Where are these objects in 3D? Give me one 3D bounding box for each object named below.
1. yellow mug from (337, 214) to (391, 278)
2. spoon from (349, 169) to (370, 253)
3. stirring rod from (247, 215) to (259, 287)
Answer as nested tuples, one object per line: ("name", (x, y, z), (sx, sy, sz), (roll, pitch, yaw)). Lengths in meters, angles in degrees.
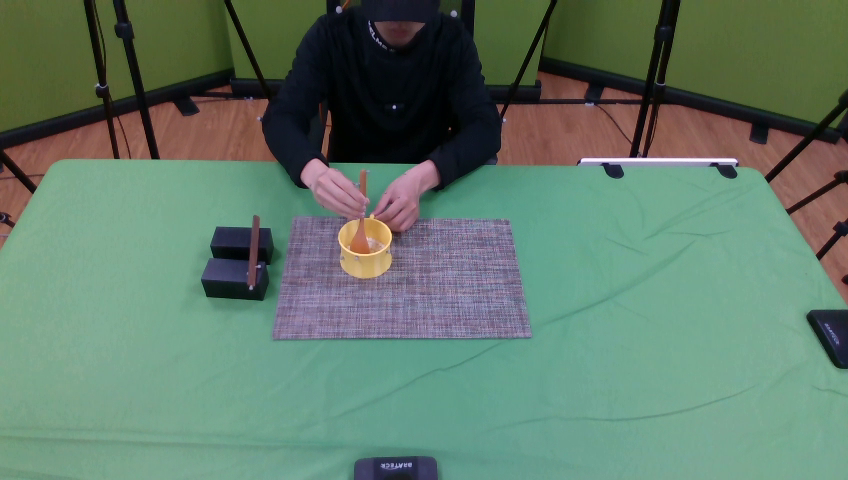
("yellow mug", (-0.110, 0.003, 1.152), (0.100, 0.064, 0.130), (7, 45, 2))
("spoon", (-0.115, -0.043, 1.099), (0.041, 0.194, 0.021), (14, 31, 13))
("stirring rod", (-0.309, 0.016, 1.097), (0.014, 0.006, 0.175), (25, 36, -31))
